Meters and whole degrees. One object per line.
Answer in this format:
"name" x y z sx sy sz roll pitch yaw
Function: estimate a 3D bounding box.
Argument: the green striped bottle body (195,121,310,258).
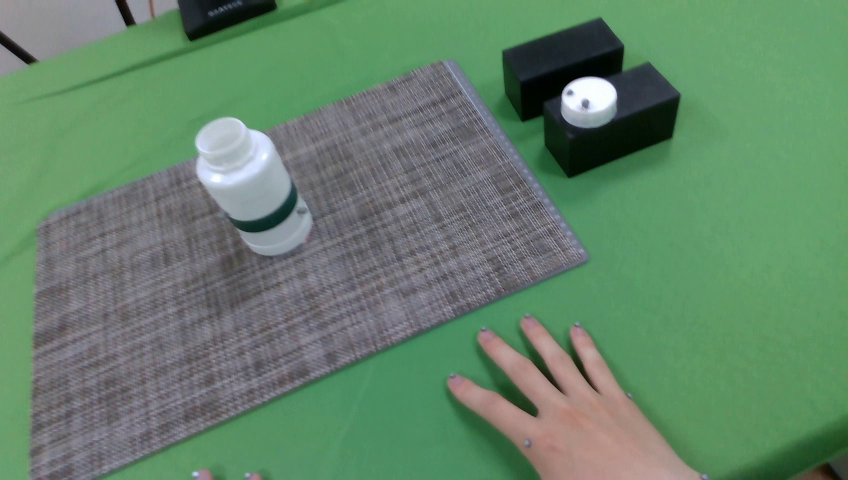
"green striped bottle body" -0.144 -0.042 0.503 0.063 0.120 0.062 -6 54 9

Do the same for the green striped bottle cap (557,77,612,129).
"green striped bottle cap" 0.133 -0.114 0.501 0.044 0.020 0.044 -4 53 6
